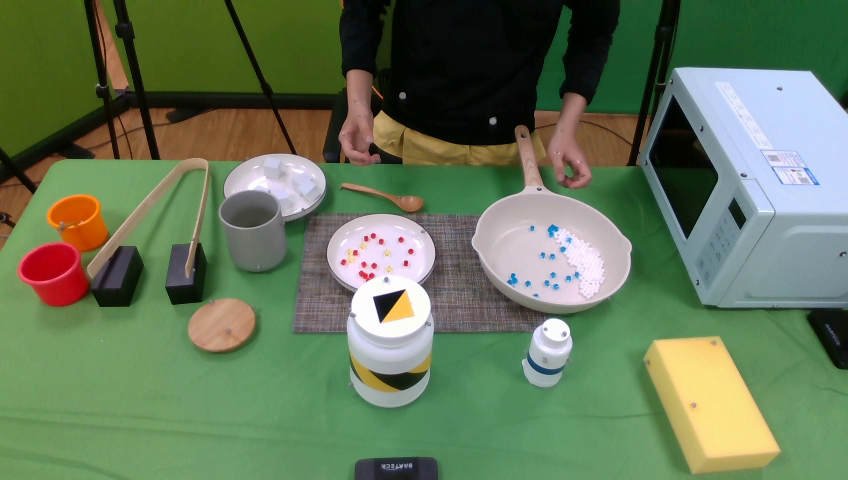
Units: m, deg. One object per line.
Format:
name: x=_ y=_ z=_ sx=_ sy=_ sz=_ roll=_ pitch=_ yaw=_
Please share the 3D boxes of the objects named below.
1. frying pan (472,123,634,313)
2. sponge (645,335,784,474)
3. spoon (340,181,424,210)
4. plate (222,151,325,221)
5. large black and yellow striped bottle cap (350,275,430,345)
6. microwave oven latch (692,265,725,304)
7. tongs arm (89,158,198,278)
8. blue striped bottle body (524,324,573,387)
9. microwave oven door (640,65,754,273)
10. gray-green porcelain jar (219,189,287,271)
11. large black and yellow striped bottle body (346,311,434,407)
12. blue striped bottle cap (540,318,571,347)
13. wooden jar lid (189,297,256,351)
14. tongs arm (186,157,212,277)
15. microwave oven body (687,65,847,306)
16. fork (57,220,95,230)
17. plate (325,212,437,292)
frying pan: x=0.235 y=-0.060 z=1.207 sx=0.307 sy=0.103 sz=0.484 roll=2 pitch=55 yaw=-6
sponge: x=0.449 y=0.253 z=0.956 sx=0.118 sy=0.061 sz=0.205 roll=-4 pitch=46 yaw=-7
spoon: x=-0.090 y=-0.100 z=1.282 sx=0.193 sy=0.022 sz=0.041 roll=18 pitch=65 yaw=13
plate: x=-0.310 y=-0.106 z=1.262 sx=0.208 sy=0.039 sz=0.206 roll=2 pitch=47 yaw=-2
large black and yellow striped bottle cap: x=-0.048 y=0.097 z=0.868 sx=0.115 sy=0.019 sz=0.114 roll=3 pitch=48 yaw=-3
microwave oven latch: x=0.522 y=0.081 z=1.116 sx=0.030 sy=0.029 sz=0.078 roll=1 pitch=46 yaw=-2
tongs arm: x=-0.529 y=-0.057 z=1.164 sx=0.028 sy=0.028 sz=0.385 roll=1 pitch=36 yaw=8
blue striped bottle body: x=0.200 y=0.178 z=0.970 sx=0.063 sy=0.121 sz=0.062 roll=2 pitch=46 yaw=-2
microwave oven door: x=0.523 y=-0.147 z=1.193 sx=0.039 sy=0.245 sz=0.353 roll=0 pitch=47 yaw=-3
gray-green porcelain jar: x=-0.309 y=-0.014 z=1.113 sx=0.106 sy=0.127 sz=0.105 roll=2 pitch=46 yaw=-2
large black and yellow striped bottle body: x=-0.052 y=0.157 z=0.929 sx=0.131 sy=0.185 sz=0.130 roll=2 pitch=47 yaw=-2
blue striped bottle cap: x=0.203 y=0.142 z=0.933 sx=0.044 sy=0.021 sz=0.044 roll=3 pitch=49 yaw=-3
wooden jar lid: x=-0.342 y=0.145 z=1.033 sx=0.108 sy=0.021 sz=0.107 roll=2 pitch=45 yaw=-2
tongs arm: x=-0.445 y=-0.058 z=1.169 sx=0.051 sy=0.026 sz=0.382 roll=-5 pitch=37 yaw=-6
microwave oven body: x=0.669 y=-0.111 z=1.176 sx=0.326 sy=0.261 sz=0.439 roll=0 pitch=46 yaw=-3
fork: x=-0.624 y=-0.027 z=1.086 sx=0.028 sy=0.207 sz=0.018 roll=-3 pitch=92 yaw=-17
plate: x=-0.080 y=0.030 z=1.143 sx=0.209 sy=0.038 sz=0.208 roll=3 pitch=46 yaw=-2
